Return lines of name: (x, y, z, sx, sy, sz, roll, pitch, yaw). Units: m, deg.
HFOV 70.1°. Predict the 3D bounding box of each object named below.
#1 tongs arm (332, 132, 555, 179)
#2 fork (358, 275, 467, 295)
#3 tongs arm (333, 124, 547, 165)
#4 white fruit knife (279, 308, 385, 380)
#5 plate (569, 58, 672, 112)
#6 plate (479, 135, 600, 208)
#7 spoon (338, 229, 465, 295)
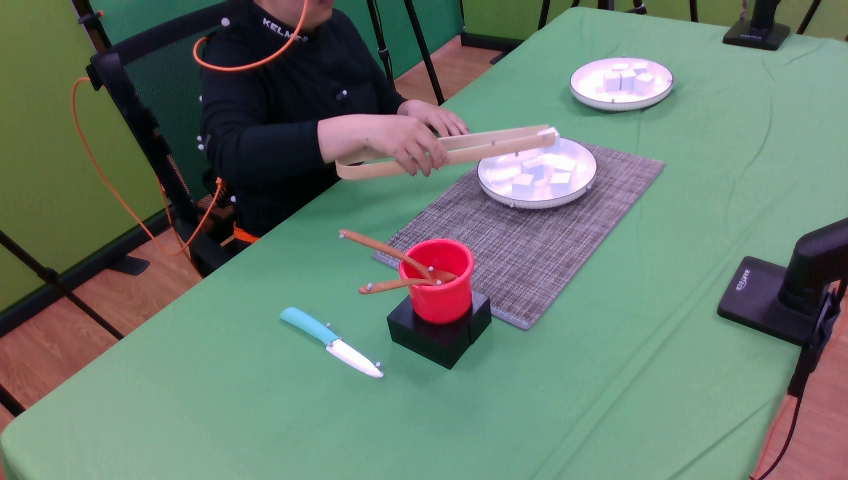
tongs arm: (0.039, -0.150, 1.030, 0.386, 0.026, 0.050, -13, 39, -14)
fork: (-0.009, 0.056, 0.739, 0.028, 0.018, 0.209, 48, 23, 26)
tongs arm: (0.033, -0.163, 1.048, 0.389, 0.028, 0.028, -10, 42, -10)
white fruit knife: (-0.130, 0.143, 0.845, 0.205, 0.016, 0.027, 25, 79, 32)
plate: (0.411, -0.323, 1.274, 0.209, 0.038, 0.208, -5, 41, 5)
plate: (0.202, -0.117, 1.065, 0.207, 0.039, 0.206, -5, 40, 5)
spoon: (-0.025, 0.026, 0.776, 0.021, 0.195, 0.041, -41, 34, 32)
